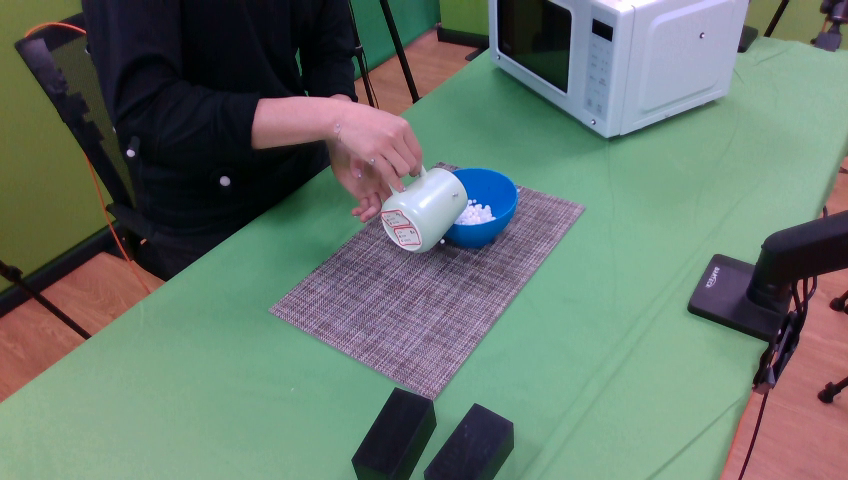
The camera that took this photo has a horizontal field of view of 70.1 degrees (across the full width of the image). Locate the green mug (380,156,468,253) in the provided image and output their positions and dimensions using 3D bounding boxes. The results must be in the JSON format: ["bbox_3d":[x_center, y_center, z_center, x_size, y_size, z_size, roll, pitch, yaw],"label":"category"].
[{"bbox_3d":[-0.008,-0.056,0.844,0.092,0.126,0.105,-6,31,51],"label":"green mug"}]

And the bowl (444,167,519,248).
[{"bbox_3d":[0.075,-0.041,0.958,0.151,0.077,0.150,-4,41,4],"label":"bowl"}]

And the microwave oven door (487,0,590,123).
[{"bbox_3d":[0.232,-0.420,1.231,0.039,0.245,0.352,-22,43,-16],"label":"microwave oven door"}]

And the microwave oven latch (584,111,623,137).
[{"bbox_3d":[0.337,-0.222,1.142,0.030,0.029,0.078,-21,42,-14],"label":"microwave oven latch"}]

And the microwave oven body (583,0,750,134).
[{"bbox_3d":[0.382,-0.445,1.246,0.327,0.261,0.437,-22,42,-16],"label":"microwave oven body"}]
